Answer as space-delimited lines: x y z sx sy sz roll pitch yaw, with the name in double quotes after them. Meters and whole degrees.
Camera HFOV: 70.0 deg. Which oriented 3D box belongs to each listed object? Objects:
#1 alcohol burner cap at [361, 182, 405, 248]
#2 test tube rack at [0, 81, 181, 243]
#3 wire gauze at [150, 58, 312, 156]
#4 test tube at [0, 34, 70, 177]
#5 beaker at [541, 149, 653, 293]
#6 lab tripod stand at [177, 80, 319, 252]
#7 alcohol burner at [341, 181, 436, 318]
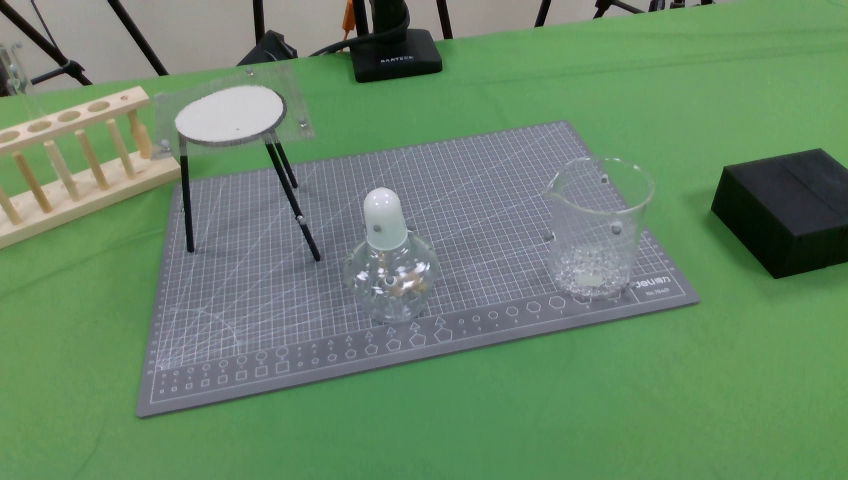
-0.033 -0.021 0.455 0.034 0.048 0.033 -3 45 3 "alcohol burner cap"
-0.386 -0.073 0.614 0.242 0.086 0.066 -28 48 -24 "test tube rack"
-0.164 -0.111 0.500 0.125 0.011 0.120 -15 44 -10 "wire gauze"
-0.386 -0.127 0.600 0.017 0.151 0.017 -1 39 1 "test tube"
0.135 -0.012 0.495 0.084 0.101 0.073 -2 43 3 "beaker"
-0.159 -0.062 0.546 0.148 0.133 0.147 -2 45 3 "lab tripod stand"
-0.029 0.005 0.479 0.078 0.120 0.077 -2 41 2 "alcohol burner"
